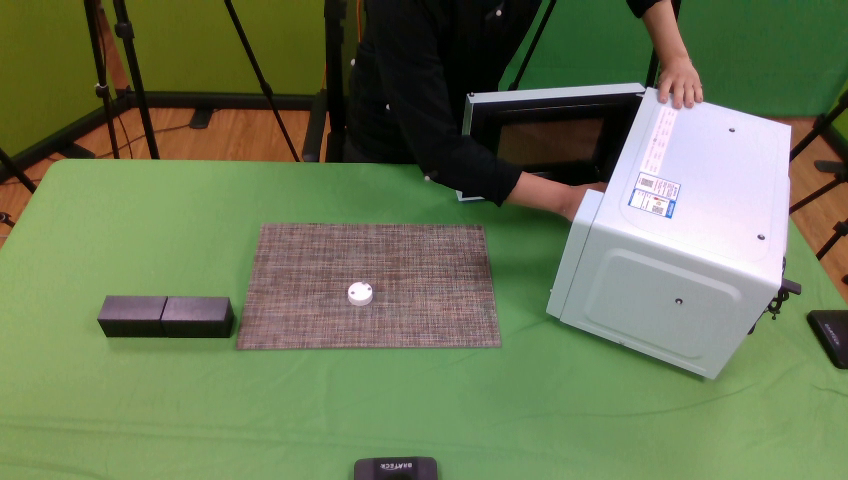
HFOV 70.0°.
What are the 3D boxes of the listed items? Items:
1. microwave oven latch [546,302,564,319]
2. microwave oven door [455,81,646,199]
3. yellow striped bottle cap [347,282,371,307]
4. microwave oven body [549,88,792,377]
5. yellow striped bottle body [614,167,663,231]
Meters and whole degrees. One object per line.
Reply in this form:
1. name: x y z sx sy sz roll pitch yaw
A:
1. microwave oven latch: 0.242 0.102 1.081 0.030 0.029 0.079 22 48 17
2. microwave oven door: 0.249 -0.199 1.228 0.356 0.245 0.039 -6 47 -10
3. yellow striped bottle cap: -0.117 0.098 1.093 0.044 0.019 0.044 3 45 -3
4. microwave oven body: 0.456 -0.028 1.088 0.325 0.261 0.440 20 47 16
5. yellow striped bottle body: 0.403 -0.079 1.130 0.063 0.121 0.062 3 45 -3
